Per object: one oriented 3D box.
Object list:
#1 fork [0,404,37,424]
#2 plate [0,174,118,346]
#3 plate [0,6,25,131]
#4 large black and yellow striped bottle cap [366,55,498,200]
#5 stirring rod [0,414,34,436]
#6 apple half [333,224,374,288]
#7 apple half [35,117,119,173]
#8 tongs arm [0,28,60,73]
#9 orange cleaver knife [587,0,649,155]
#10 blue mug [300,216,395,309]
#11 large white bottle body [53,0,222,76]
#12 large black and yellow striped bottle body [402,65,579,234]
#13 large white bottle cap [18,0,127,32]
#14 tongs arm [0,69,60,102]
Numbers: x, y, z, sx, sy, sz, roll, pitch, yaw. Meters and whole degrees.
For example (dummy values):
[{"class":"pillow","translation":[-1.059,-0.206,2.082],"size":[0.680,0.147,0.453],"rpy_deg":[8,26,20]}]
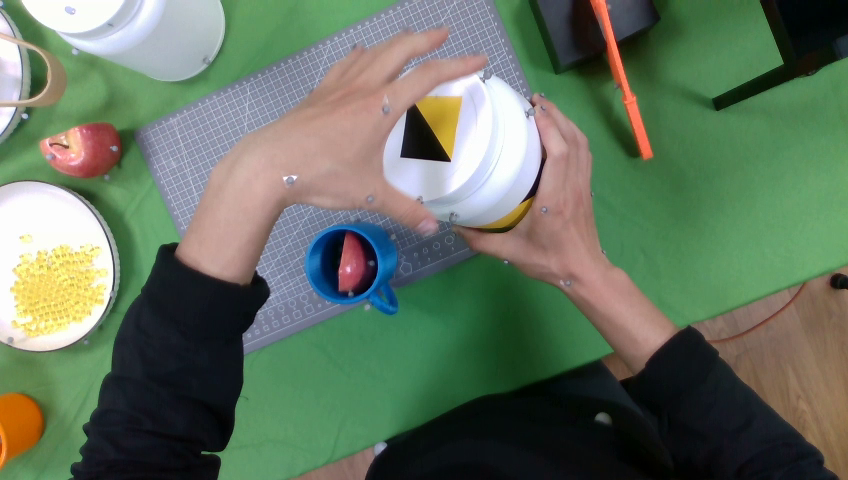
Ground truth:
[{"class":"fork","translation":[-0.575,0.230,0.707],"size":[0.208,0.018,0.028],"rpy_deg":[-9,94,-38]},{"class":"plate","translation":[-0.469,0.024,0.737],"size":[0.209,0.038,0.209],"rpy_deg":[0,95,5]},{"class":"plate","translation":[-0.572,-0.208,0.725],"size":[0.207,0.039,0.208],"rpy_deg":[0,95,5]},{"class":"large black and yellow striped bottle cap","translation":[0.003,-0.089,0.479],"size":[0.114,0.019,0.114],"rpy_deg":[-5,82,31]},{"class":"stirring rod","translation":[-0.559,0.245,0.709],"size":[0.177,0.006,0.014],"rpy_deg":[-17,81,-34]},{"class":"apple half","translation":[-0.070,0.018,0.662],"size":[0.032,0.081,0.081],"rpy_deg":[11,95,11]},{"class":"apple half","translation":[-0.395,-0.105,0.702],"size":[0.081,0.074,0.053],"rpy_deg":[-19,97,2]},{"class":"tongs arm","translation":[-0.592,-0.265,0.691],"size":[0.387,0.028,0.028],"rpy_deg":[20,90,5]},{"class":"orange cleaver knife","translation":[0.200,-0.189,0.642],"size":[0.012,0.076,0.213],"rpy_deg":[-21,119,15]},{"class":"blue mug","translation":[-0.072,0.028,0.669],"size":[0.082,0.106,0.116],"rpy_deg":[-39,91,7]},{"class":"large white bottle body","translation":[-0.308,-0.252,0.626],"size":[0.130,0.184,0.130],"rpy_deg":[0,94,5]},{"class":"large black and yellow striped bottle body","translation":[0.050,-0.079,0.549],"size":[0.130,0.185,0.130],"rpy_deg":[-5,81,33]},{"class":"large white bottle cap","translation":[-0.317,-0.246,0.542],"size":[0.115,0.018,0.115],"rpy_deg":[0,95,5]},{"class":"tongs arm","translation":[-0.606,-0.183,0.698],"size":[0.384,0.026,0.051],"rpy_deg":[6,92,6]}]
